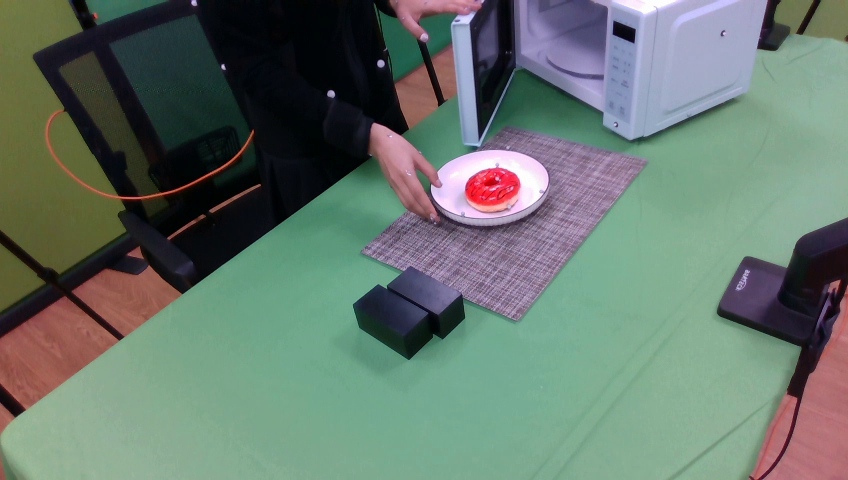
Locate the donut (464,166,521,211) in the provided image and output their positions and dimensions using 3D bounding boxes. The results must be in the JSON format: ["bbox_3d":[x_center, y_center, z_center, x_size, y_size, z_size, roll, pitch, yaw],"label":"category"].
[{"bbox_3d":[0.117,-0.089,1.031,0.099,0.048,0.098,-7,41,7],"label":"donut"}]

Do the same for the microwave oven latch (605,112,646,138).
[{"bbox_3d":[0.375,-0.217,1.130,0.030,0.029,0.078,-24,42,-16],"label":"microwave oven latch"}]

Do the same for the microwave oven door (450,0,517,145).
[{"bbox_3d":[0.130,-0.390,1.221,0.039,0.245,0.355,7,43,19],"label":"microwave oven door"}]

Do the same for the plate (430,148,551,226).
[{"bbox_3d":[0.114,-0.089,1.049,0.209,0.038,0.208,-5,40,5],"label":"plate"}]

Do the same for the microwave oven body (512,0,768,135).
[{"bbox_3d":[0.410,-0.441,1.235,0.327,0.261,0.437,-25,42,-16],"label":"microwave oven body"}]
